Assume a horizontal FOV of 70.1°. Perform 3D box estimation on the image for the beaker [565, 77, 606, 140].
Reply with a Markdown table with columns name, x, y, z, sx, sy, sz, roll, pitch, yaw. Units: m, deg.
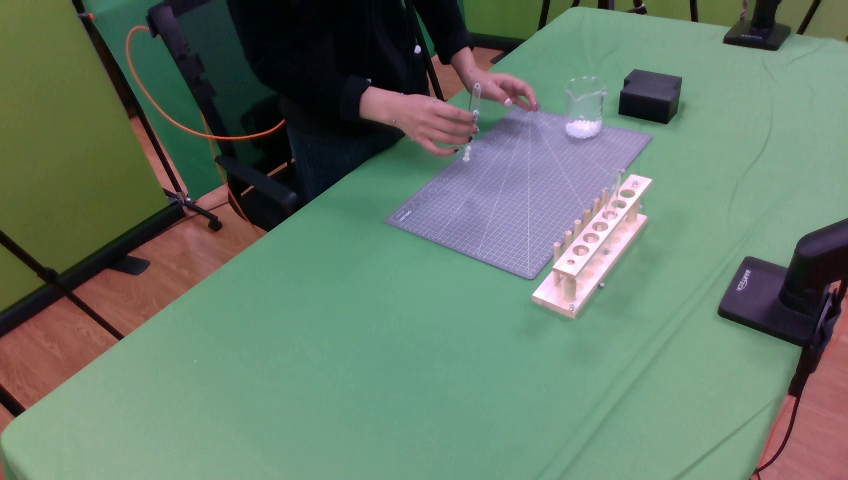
| name | x | y | z | sx | sy | sz | roll | pitch | yaw |
| --- | --- | --- | --- | --- | --- | --- | --- | --- | --- |
| beaker | 0.304 | -0.247 | 1.153 | 0.073 | 0.101 | 0.084 | 15 | 47 | 27 |

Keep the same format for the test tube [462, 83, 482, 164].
| name | x | y | z | sx | sy | sz | roll | pitch | yaw |
| --- | --- | --- | --- | --- | --- | --- | --- | --- | --- |
| test tube | 0.079 | -0.193 | 1.017 | 0.017 | 0.151 | 0.017 | 4 | 39 | -3 |

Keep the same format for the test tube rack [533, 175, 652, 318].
| name | x | y | z | sx | sy | sz | roll | pitch | yaw |
| --- | --- | --- | --- | --- | --- | --- | --- | --- | --- |
| test tube rack | 0.251 | -0.001 | 0.889 | 0.066 | 0.085 | 0.243 | 22 | 49 | 33 |

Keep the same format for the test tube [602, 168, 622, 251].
| name | x | y | z | sx | sy | sz | roll | pitch | yaw |
| --- | --- | --- | --- | --- | --- | --- | --- | --- | --- |
| test tube | 0.264 | -0.039 | 0.853 | 0.017 | 0.151 | 0.017 | -5 | 44 | 6 |
